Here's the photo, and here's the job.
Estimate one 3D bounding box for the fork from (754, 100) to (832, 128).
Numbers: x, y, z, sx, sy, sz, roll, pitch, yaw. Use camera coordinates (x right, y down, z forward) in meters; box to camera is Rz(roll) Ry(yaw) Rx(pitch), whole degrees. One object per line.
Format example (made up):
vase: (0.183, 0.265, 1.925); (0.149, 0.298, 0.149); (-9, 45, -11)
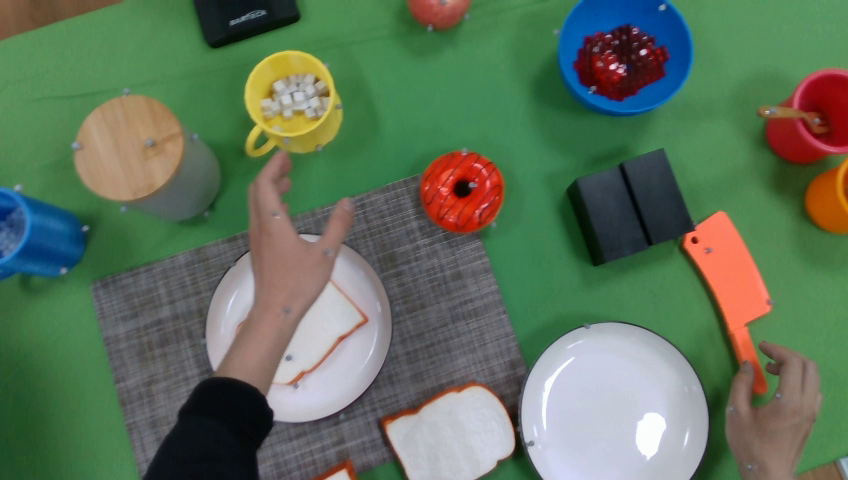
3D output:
fork: (0.407, -0.140, 0.664); (0.208, 0.018, 0.028); (-5, 80, -43)

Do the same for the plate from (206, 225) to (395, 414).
plate: (-0.136, 0.088, 0.684); (0.208, 0.039, 0.207); (0, 83, 0)

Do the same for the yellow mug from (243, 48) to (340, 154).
yellow mug: (-0.162, -0.151, 0.705); (0.100, 0.064, 0.131); (39, 85, 5)

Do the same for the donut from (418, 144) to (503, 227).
donut: (0.042, -0.063, 0.701); (0.099, 0.048, 0.099); (0, 83, 0)

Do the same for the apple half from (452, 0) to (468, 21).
apple half: (0.023, -0.307, 0.722); (0.080, 0.075, 0.053); (37, 79, 9)

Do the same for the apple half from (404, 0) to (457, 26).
apple half: (0.000, -0.276, 0.716); (0.081, 0.081, 0.033); (37, 79, 5)

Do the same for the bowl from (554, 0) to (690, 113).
bowl: (0.220, -0.212, 0.707); (0.151, 0.077, 0.151); (0, 83, 0)

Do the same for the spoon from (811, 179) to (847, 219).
spoon: (0.525, -0.074, 0.655); (0.022, 0.193, 0.041); (-11, 75, -46)

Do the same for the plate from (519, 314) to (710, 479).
plate: (0.208, 0.188, 0.675); (0.209, 0.038, 0.208); (0, 83, 0)

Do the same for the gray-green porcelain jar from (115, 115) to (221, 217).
gray-green porcelain jar: (-0.290, -0.084, 0.665); (0.106, 0.127, 0.105); (0, 82, 0)

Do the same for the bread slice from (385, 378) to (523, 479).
bread slice: (0.042, 0.212, 0.645); (0.134, 0.018, 0.106); (-24, 79, -23)

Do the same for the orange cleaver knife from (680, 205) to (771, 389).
orange cleaver knife: (0.363, 0.063, 0.702); (0.077, 0.012, 0.210); (-17, 82, -9)

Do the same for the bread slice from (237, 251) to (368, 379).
bread slice: (-0.144, 0.092, 0.685); (0.104, 0.019, 0.131); (44, 84, 6)

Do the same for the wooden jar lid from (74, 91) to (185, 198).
wooden jar lid: (-0.291, -0.094, 0.604); (0.108, 0.021, 0.108); (0, 81, 1)

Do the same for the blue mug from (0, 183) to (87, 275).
blue mug: (-0.451, 0.000, 0.664); (0.116, 0.106, 0.082); (-44, 84, -5)
